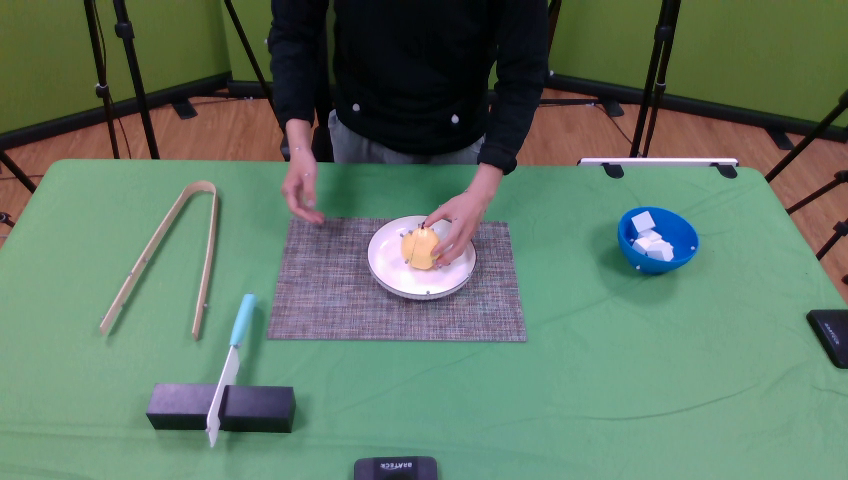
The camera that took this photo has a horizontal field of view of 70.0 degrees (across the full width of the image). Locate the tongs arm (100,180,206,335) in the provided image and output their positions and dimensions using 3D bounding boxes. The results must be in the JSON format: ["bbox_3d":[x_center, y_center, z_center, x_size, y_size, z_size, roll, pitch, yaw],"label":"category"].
[{"bbox_3d":[-0.494,0.018,1.132,0.051,0.026,0.382,6,45,0],"label":"tongs arm"}]

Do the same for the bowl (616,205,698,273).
[{"bbox_3d":[0.443,0.011,1.181,0.151,0.077,0.150,2,46,-2],"label":"bowl"}]

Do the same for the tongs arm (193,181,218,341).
[{"bbox_3d":[-0.413,0.024,1.140,0.028,0.028,0.385,-5,47,-7],"label":"tongs arm"}]

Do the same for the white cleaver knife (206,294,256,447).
[{"bbox_3d":[-0.305,0.191,0.956,0.021,0.066,0.284,5,36,-4],"label":"white cleaver knife"}]

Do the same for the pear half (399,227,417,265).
[{"bbox_3d":[-0.031,0.007,1.123,0.031,0.088,0.070,6,53,0],"label":"pear half"}]

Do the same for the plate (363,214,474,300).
[{"bbox_3d":[-0.010,0.036,1.146,0.208,0.039,0.206,2,46,-2],"label":"plate"}]

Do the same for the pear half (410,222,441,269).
[{"bbox_3d":[0.005,0.006,1.114,0.056,0.110,0.076,6,54,2],"label":"pear half"}]
